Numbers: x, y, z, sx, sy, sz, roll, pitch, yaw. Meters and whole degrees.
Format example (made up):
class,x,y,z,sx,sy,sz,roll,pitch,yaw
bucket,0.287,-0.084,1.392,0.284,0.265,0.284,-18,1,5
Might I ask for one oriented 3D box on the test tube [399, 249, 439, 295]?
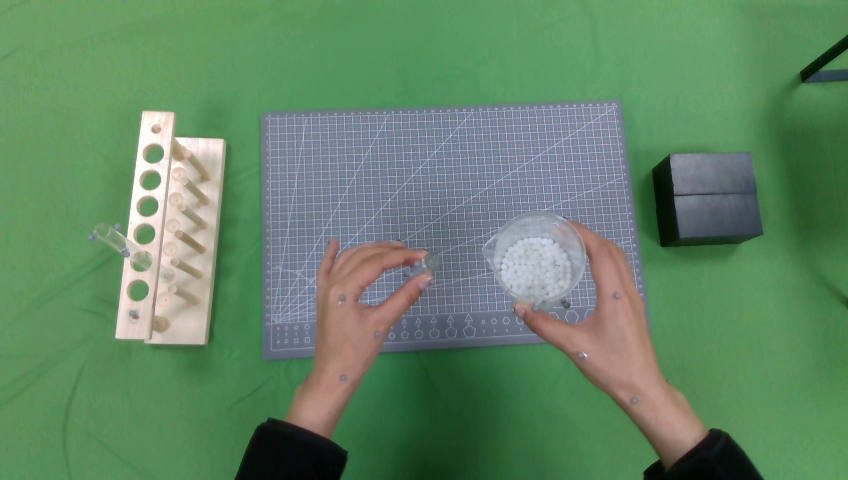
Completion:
class,x,y,z,sx,sy,sz,roll,pitch,yaw
test tube,-0.007,0.033,0.578,0.017,0.151,0.017,3,75,-9

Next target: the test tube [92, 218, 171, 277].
class,x,y,z,sx,sy,sz,roll,pitch,yaw
test tube,-0.289,0.012,0.610,0.017,0.151,0.017,0,71,0

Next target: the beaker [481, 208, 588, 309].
class,x,y,z,sx,sy,sz,roll,pitch,yaw
beaker,0.093,0.021,0.521,0.084,0.101,0.073,9,80,11

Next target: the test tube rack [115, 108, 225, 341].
class,x,y,z,sx,sy,sz,roll,pitch,yaw
test tube rack,-0.274,-0.014,0.666,0.067,0.085,0.241,2,78,-3
